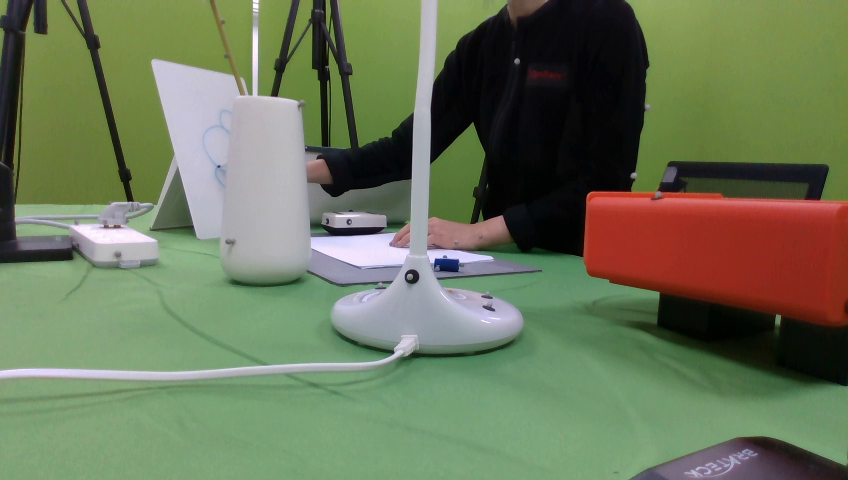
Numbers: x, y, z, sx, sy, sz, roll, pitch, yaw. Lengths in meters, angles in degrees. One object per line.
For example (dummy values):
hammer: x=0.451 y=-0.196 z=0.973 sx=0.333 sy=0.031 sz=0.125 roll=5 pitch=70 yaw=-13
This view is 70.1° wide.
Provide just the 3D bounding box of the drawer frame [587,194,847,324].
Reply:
drawer frame: x=0.285 y=0.004 z=0.508 sx=0.203 sy=0.082 sz=0.212 roll=-1 pitch=6 yaw=-29

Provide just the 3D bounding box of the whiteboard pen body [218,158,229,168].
whiteboard pen body: x=-0.291 y=-0.145 z=1.017 sx=0.140 sy=0.017 sz=0.017 roll=-17 pitch=0 yaw=20

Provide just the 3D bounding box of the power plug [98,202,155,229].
power plug: x=-0.416 y=-0.027 z=0.848 sx=0.073 sy=0.052 sz=0.035 roll=0 pitch=8 yaw=-28

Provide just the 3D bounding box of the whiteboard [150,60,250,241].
whiteboard: x=-0.408 y=-0.139 z=1.093 sx=0.143 sy=0.305 sz=0.218 roll=-15 pitch=-1 yaw=26

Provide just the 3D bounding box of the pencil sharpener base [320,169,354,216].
pencil sharpener base: x=-0.207 y=-0.113 z=1.439 sx=0.077 sy=0.107 sz=0.061 roll=1 pitch=6 yaw=-11

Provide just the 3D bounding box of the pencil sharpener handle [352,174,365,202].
pencil sharpener handle: x=-0.156 y=-0.125 z=1.450 sx=0.031 sy=0.068 sz=0.036 roll=1 pitch=20 yaw=-11

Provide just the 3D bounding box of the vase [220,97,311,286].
vase: x=-0.172 y=-0.052 z=0.662 sx=0.098 sy=0.200 sz=0.098 roll=3 pitch=8 yaw=0

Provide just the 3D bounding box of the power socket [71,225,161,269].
power socket: x=-0.408 y=0.004 z=0.793 sx=0.072 sy=0.032 sz=0.225 roll=-2 pitch=8 yaw=-38

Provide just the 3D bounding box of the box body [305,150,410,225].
box body: x=-0.230 y=-0.126 z=1.372 sx=0.366 sy=0.160 sz=0.253 roll=-2 pitch=9 yaw=-33

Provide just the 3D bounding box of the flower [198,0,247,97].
flower: x=-0.187 y=-0.133 z=0.648 sx=0.038 sy=0.362 sz=0.044 roll=0 pitch=22 yaw=43

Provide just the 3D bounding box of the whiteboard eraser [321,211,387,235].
whiteboard eraser: x=-0.128 y=-0.031 z=1.108 sx=0.113 sy=0.042 sz=0.055 roll=-4 pitch=8 yaw=-38

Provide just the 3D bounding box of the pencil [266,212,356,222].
pencil: x=-0.244 y=-0.049 z=1.318 sx=0.195 sy=0.012 sz=0.012 roll=4 pitch=7 yaw=-12

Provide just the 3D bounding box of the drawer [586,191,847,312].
drawer: x=0.281 y=0.001 z=0.513 sx=0.195 sy=0.073 sz=0.210 roll=0 pitch=8 yaw=-29

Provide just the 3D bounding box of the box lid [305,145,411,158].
box lid: x=-0.228 y=-0.200 z=1.361 sx=0.373 sy=0.015 sz=0.262 roll=-1 pitch=8 yaw=-33

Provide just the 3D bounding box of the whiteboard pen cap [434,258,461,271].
whiteboard pen cap: x=0.029 y=0.031 z=0.770 sx=0.033 sy=0.018 sz=0.018 roll=4 pitch=8 yaw=8

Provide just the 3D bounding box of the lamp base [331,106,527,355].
lamp base: x=0.006 y=-0.012 z=0.478 sx=0.161 sy=0.180 sz=0.179 roll=2 pitch=10 yaw=2
